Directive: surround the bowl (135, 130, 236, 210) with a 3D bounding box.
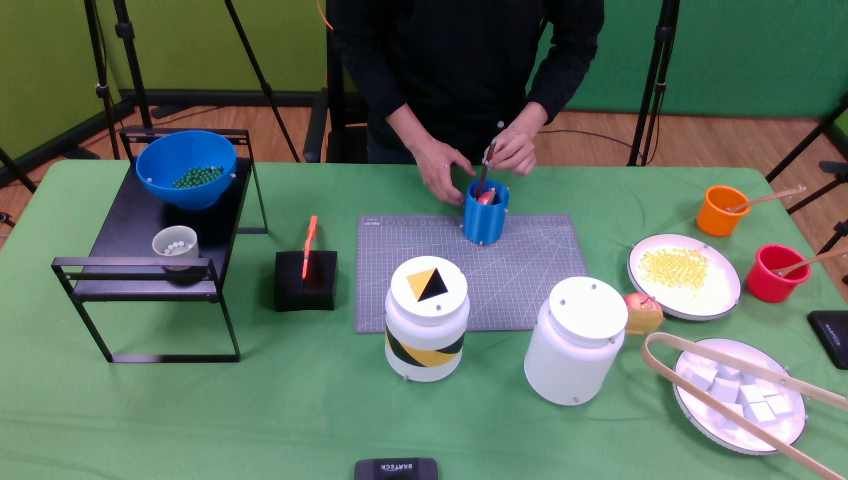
[{"bbox_3d":[-0.375,-0.102,0.977,0.151,0.077,0.150,2,46,-2],"label":"bowl"}]

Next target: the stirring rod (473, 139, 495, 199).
[{"bbox_3d":[0.110,-0.128,1.133,0.006,0.177,0.014,41,63,17],"label":"stirring rod"}]

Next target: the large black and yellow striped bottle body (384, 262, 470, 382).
[{"bbox_3d":[0.002,0.127,0.962,0.131,0.185,0.130,2,48,-2],"label":"large black and yellow striped bottle body"}]

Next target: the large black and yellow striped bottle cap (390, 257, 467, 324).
[{"bbox_3d":[0.007,0.072,0.898,0.115,0.019,0.114,2,47,-2],"label":"large black and yellow striped bottle cap"}]

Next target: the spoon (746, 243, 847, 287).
[{"bbox_3d":[0.702,0.044,1.126,0.194,0.022,0.041,-29,38,30],"label":"spoon"}]

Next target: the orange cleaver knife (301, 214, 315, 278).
[{"bbox_3d":[-0.218,0.007,1.131,0.012,0.077,0.210,7,19,-9],"label":"orange cleaver knife"}]

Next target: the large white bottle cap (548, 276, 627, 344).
[{"bbox_3d":[0.240,0.100,0.890,0.115,0.018,0.114,3,47,-3],"label":"large white bottle cap"}]

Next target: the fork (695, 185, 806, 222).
[{"bbox_3d":[0.658,-0.074,1.229,0.207,0.019,0.028,-23,34,37],"label":"fork"}]

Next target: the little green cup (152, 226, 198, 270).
[{"bbox_3d":[-0.364,0.013,0.894,0.061,0.039,0.061,3,46,-3],"label":"little green cup"}]

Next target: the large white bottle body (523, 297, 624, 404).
[{"bbox_3d":[0.235,0.159,0.952,0.131,0.185,0.130,2,47,-2],"label":"large white bottle body"}]

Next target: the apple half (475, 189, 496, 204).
[{"bbox_3d":[0.110,-0.067,1.195,0.033,0.081,0.081,26,49,6],"label":"apple half"}]

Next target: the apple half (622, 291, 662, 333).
[{"bbox_3d":[0.372,0.124,1.074,0.081,0.075,0.053,0,42,1],"label":"apple half"}]

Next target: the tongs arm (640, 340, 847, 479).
[{"bbox_3d":[0.500,0.277,0.920,0.386,0.028,0.028,34,59,22],"label":"tongs arm"}]

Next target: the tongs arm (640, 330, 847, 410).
[{"bbox_3d":[0.543,0.225,0.969,0.384,0.026,0.050,22,52,13],"label":"tongs arm"}]

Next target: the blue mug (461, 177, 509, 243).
[{"bbox_3d":[0.114,-0.070,1.211,0.082,0.106,0.115,-12,48,-15],"label":"blue mug"}]

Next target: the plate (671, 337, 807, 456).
[{"bbox_3d":[0.503,0.254,0.984,0.208,0.039,0.206,2,46,-2],"label":"plate"}]

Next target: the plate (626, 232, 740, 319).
[{"bbox_3d":[0.488,0.071,1.157,0.209,0.038,0.208,3,46,-3],"label":"plate"}]
